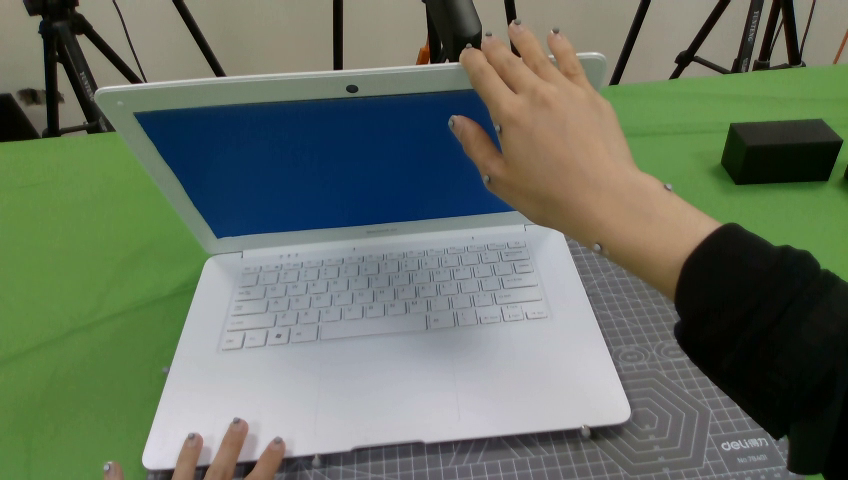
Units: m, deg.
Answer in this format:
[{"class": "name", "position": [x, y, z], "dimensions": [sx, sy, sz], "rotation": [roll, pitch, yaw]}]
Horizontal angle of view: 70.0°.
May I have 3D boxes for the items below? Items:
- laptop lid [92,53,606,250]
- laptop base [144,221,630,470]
[{"class": "laptop lid", "position": [-0.046, -0.058, 0.507], "dimensions": [0.357, 0.243, 0.013], "rotation": [-6, 63, 1]}, {"class": "laptop base", "position": [-0.032, 0.077, 0.521], "dimensions": [0.354, 0.023, 0.233], "rotation": [-6, 42, -1]}]
